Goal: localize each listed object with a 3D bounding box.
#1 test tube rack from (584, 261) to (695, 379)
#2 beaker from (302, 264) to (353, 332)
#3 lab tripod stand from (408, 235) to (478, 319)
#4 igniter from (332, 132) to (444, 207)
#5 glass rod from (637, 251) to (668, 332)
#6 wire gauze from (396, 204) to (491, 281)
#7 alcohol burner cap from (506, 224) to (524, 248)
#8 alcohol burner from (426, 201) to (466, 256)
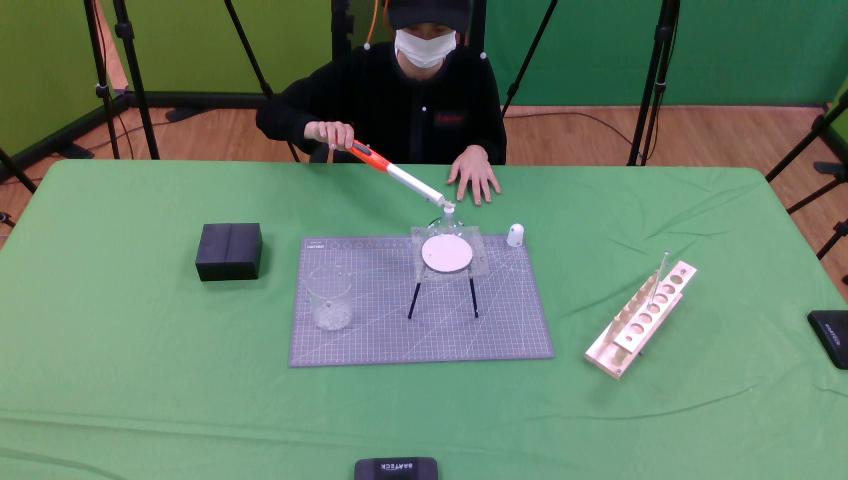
[{"bbox_3d":[0.380,0.127,1.062,0.066,0.085,0.242,34,53,26],"label":"test tube rack"},{"bbox_3d":[-0.162,0.101,1.030,0.084,0.101,0.073,4,46,0],"label":"beaker"},{"bbox_3d":[0.032,0.065,1.057,0.148,0.132,0.147,1,45,-1],"label":"lab tripod stand"},{"bbox_3d":[-0.076,-0.141,1.171,0.275,0.057,0.025,33,76,22],"label":"igniter"},{"bbox_3d":[0.378,0.090,1.005,0.008,0.201,0.008,-1,44,1],"label":"glass rod"},{"bbox_3d":[0.032,0.004,0.999,0.125,0.011,0.120,-22,54,-14],"label":"wire gauze"},{"bbox_3d":[0.183,-0.010,1.206,0.034,0.048,0.033,1,46,-1],"label":"alcohol burner cap"},{"bbox_3d":[0.043,-0.026,1.161,0.078,0.120,0.077,1,47,-1],"label":"alcohol burner"}]
